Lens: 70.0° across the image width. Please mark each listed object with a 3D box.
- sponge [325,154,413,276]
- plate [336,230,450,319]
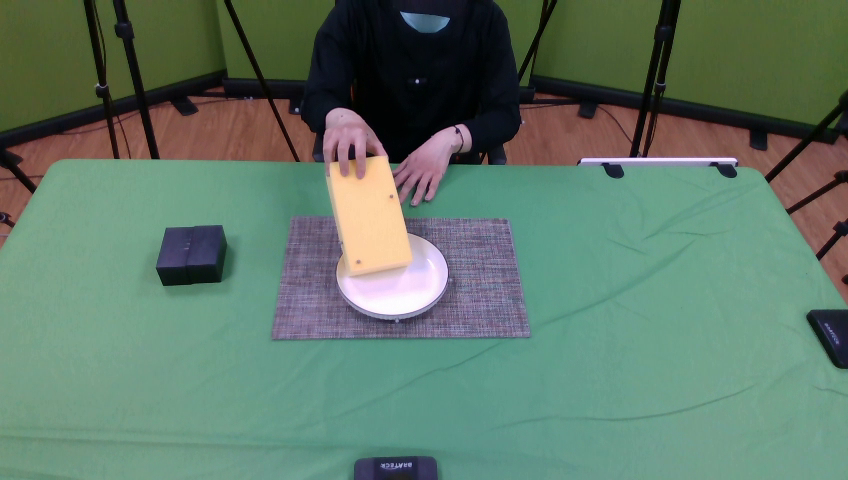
[{"bbox_3d":[-0.104,-0.046,1.121,0.118,0.061,0.206,-12,80,-13],"label":"sponge"},{"bbox_3d":[-0.056,0.065,1.113,0.208,0.039,0.206,2,46,-2],"label":"plate"}]
